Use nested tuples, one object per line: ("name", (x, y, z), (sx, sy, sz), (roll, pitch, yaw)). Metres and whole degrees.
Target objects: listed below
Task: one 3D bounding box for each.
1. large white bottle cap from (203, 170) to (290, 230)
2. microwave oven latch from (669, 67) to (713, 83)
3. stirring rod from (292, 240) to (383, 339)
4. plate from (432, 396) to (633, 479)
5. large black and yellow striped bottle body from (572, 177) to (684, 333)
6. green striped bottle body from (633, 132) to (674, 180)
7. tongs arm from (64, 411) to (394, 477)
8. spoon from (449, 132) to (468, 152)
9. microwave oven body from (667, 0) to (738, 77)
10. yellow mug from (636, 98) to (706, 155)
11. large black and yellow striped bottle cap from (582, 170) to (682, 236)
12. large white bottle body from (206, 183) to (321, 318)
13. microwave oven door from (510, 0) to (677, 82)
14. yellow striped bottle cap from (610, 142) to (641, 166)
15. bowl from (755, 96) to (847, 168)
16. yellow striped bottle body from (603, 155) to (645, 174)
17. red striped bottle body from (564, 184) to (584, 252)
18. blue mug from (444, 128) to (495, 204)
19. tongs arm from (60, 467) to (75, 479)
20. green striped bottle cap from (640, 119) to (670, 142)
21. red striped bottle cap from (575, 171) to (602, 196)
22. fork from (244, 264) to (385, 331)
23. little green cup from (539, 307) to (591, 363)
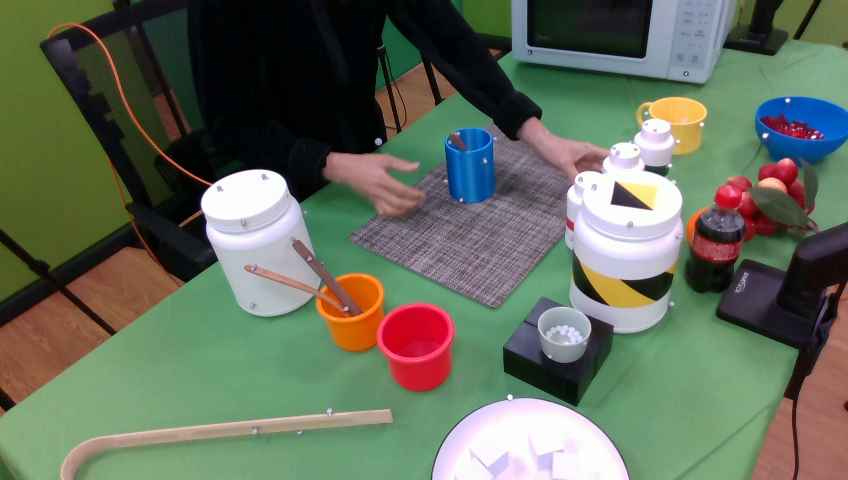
("large white bottle cap", (-0.241, -0.057, 0.822), (0.115, 0.018, 0.114), (-4, 40, 4))
("microwave oven latch", (0.556, -0.348, 1.261), (0.078, 0.029, 0.030), (16, 46, 27))
("stirring rod", (-0.118, 0.068, 0.826), (0.176, 0.006, 0.014), (49, 59, -4))
("plate", (0.112, 0.261, 0.634), (0.209, 0.038, 0.208), (-5, 40, 4))
("large black and yellow striped bottle body", (0.262, 0.017, 0.788), (0.131, 0.185, 0.130), (-5, 40, 4))
("green striped bottle body", (0.376, -0.135, 1.001), (0.063, 0.120, 0.063), (-5, 40, 5))
("tongs arm", (-0.228, 0.241, 0.715), (0.385, 0.026, 0.050), (-5, 43, 4))
("spoon", (0.067, -0.143, 0.998), (0.041, 0.195, 0.021), (10, 79, 18))
("microwave oven body", (0.462, -0.552, 1.369), (0.439, 0.261, 0.326), (15, 45, 26))
("yellow mug", (0.453, -0.217, 1.128), (0.100, 0.064, 0.129), (-34, 46, -28))
("large black and yellow striped bottle cap", (0.252, -0.048, 0.735), (0.115, 0.019, 0.114), (-3, 40, 3))
("large white bottle body", (-0.233, 0.008, 0.876), (0.130, 0.185, 0.130), (-5, 40, 4))
("microwave oven door", (0.352, -0.477, 1.289), (0.353, 0.245, 0.039), (15, 44, 25))
("yellow striped bottle cap", (0.309, -0.131, 0.925), (0.044, 0.019, 0.044), (-4, 46, 5))
("bowl", (0.645, -0.177, 1.041), (0.151, 0.077, 0.150), (-5, 40, 4))
("yellow striped bottle body", (0.314, -0.090, 0.957), (0.063, 0.121, 0.062), (-4, 40, 4))
("red striped bottle body", (0.247, -0.041, 0.910), (0.063, 0.120, 0.062), (-3, 39, 3))
("blue mug", (0.081, -0.139, 1.058), (0.082, 0.106, 0.116), (-4, 40, 4))
("tongs arm", (-0.239, 0.301, 0.648), (0.386, 0.028, 0.028), (6, 49, 16))
("green striped bottle cap", (0.370, -0.175, 0.968), (0.044, 0.020, 0.044), (-3, 41, 3))
("red striped bottle cap", (0.242, -0.081, 0.876), (0.044, 0.018, 0.044), (-5, 43, 5))
("fork", (-0.142, 0.078, 0.806), (0.209, 0.018, 0.028), (30, 35, -24))
("little green cup", (0.167, 0.114, 0.721), (0.061, 0.039, 0.061), (-4, 43, 4))
